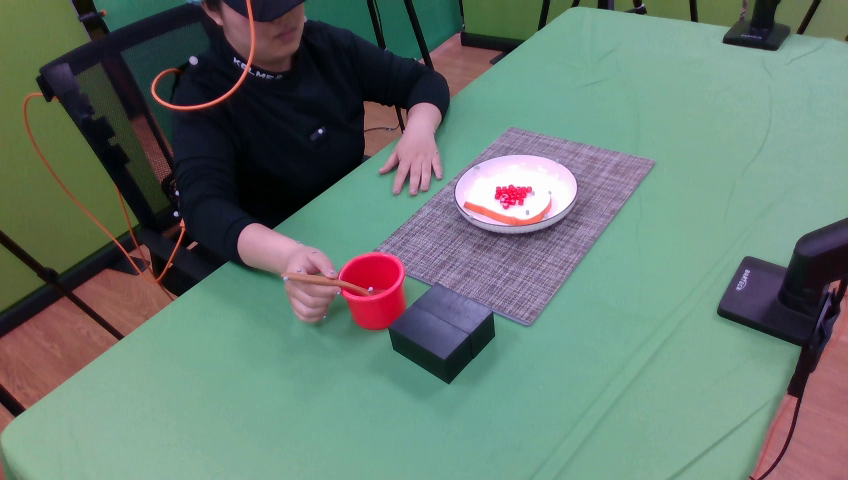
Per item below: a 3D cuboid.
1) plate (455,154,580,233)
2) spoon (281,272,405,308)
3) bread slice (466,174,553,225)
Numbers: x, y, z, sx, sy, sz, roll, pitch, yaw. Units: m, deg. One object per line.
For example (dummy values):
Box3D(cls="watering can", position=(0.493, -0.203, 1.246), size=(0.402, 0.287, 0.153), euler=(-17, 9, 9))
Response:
Box3D(cls="plate", position=(0.158, -0.076, 1.028), size=(0.209, 0.038, 0.208), euler=(-5, 40, 5))
Box3D(cls="spoon", position=(-0.108, 0.065, 0.836), size=(0.195, 0.021, 0.041), euler=(20, 23, -37))
Box3D(cls="bread slice", position=(0.152, -0.067, 1.022), size=(0.130, 0.019, 0.105), euler=(22, 50, 34))
